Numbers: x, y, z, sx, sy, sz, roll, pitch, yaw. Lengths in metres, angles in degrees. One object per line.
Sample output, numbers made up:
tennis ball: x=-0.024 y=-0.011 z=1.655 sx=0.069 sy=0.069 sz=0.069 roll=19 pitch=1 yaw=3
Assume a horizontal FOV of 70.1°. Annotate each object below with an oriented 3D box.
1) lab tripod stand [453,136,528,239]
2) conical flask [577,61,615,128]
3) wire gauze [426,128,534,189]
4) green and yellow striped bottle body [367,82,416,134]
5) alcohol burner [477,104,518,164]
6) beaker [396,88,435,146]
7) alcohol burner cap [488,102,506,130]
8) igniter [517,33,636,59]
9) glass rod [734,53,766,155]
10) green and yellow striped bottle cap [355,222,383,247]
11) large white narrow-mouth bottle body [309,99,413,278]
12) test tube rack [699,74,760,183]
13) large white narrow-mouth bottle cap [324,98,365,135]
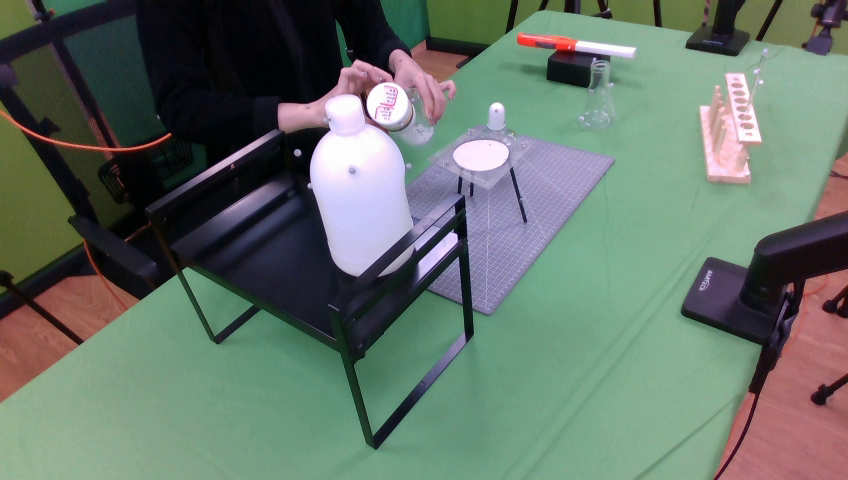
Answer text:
lab tripod stand: x=0.095 y=-0.086 z=0.974 sx=0.148 sy=0.132 sz=0.147 roll=-4 pitch=43 yaw=4
conical flask: x=0.343 y=-0.288 z=1.188 sx=0.075 sy=0.122 sz=0.075 roll=-4 pitch=41 yaw=4
wire gauze: x=0.086 y=-0.131 z=0.924 sx=0.124 sy=0.011 sz=0.122 roll=26 pitch=52 yaw=33
green and yellow striped bottle body: x=-0.047 y=-0.203 z=0.950 sx=0.063 sy=0.063 sz=0.120 roll=-2 pitch=0 yaw=6
alcohol burner: x=0.135 y=-0.200 z=1.117 sx=0.078 sy=0.119 sz=0.077 roll=-4 pitch=43 yaw=4
beaker: x=-0.023 y=-0.212 z=1.052 sx=0.073 sy=0.101 sz=0.084 roll=31 pitch=90 yaw=17
alcohol burner cap: x=0.133 y=-0.227 z=1.092 sx=0.034 sy=0.048 sz=0.033 roll=-1 pitch=47 yaw=2
igniter: x=0.336 y=-0.441 z=1.369 sx=0.275 sy=0.025 sz=0.057 roll=16 pitch=41 yaw=23
glass rod: x=0.540 y=-0.220 z=1.007 sx=0.008 sy=0.201 sz=0.008 roll=-5 pitch=46 yaw=6
green and yellow striped bottle cap: x=-0.092 y=-0.009 z=1.001 sx=0.045 sy=0.020 sz=0.045 roll=-3 pitch=39 yaw=3
large white narrow-mouth bottle body: x=-0.068 y=-0.057 z=0.644 sx=0.102 sy=0.195 sz=0.101 roll=-3 pitch=42 yaw=4
test tube rack: x=0.547 y=-0.208 z=1.095 sx=0.066 sy=0.085 sz=0.242 roll=6 pitch=42 yaw=16
large white narrow-mouth bottle cap: x=-0.076 y=-0.120 z=0.585 sx=0.038 sy=0.024 sz=0.037 roll=-3 pitch=42 yaw=3
